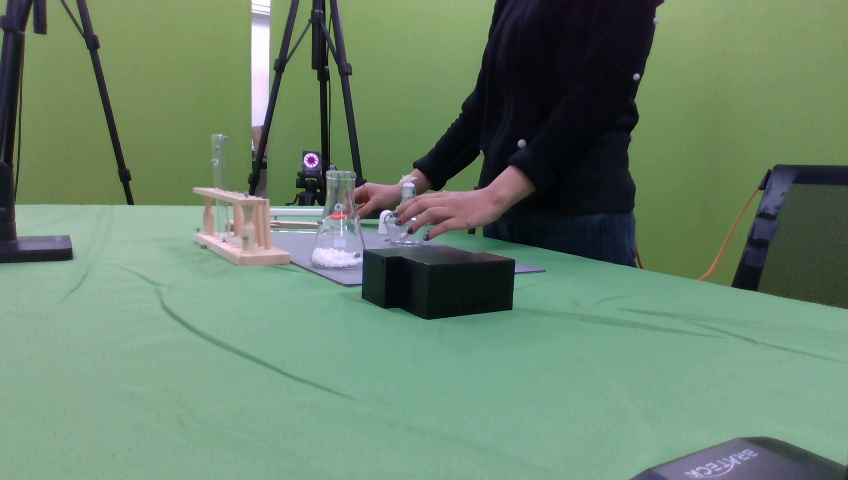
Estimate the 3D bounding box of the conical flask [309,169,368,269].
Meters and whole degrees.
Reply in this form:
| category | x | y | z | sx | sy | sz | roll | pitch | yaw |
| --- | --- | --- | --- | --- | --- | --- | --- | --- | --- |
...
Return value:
| category | x | y | z | sx | sy | sz | roll | pitch | yaw |
| --- | --- | --- | --- | --- | --- | --- | --- | --- | --- |
| conical flask | -0.107 | -0.028 | 0.762 | 0.075 | 0.122 | 0.075 | 2 | 7 | 0 |

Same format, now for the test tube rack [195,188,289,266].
| category | x | y | z | sx | sy | sz | roll | pitch | yaw |
| --- | --- | --- | --- | --- | --- | --- | --- | --- | --- |
| test tube rack | -0.266 | -0.025 | 0.864 | 0.067 | 0.085 | 0.241 | -2 | 8 | -33 |

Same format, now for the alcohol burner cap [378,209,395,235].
| category | x | y | z | sx | sy | sz | roll | pitch | yaw |
| --- | --- | --- | --- | --- | --- | --- | --- | --- | --- |
| alcohol burner cap | -0.070 | -0.035 | 1.144 | 0.034 | 0.048 | 0.034 | 2 | 8 | 0 |

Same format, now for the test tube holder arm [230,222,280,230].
| category | x | y | z | sx | sy | sz | roll | pitch | yaw |
| --- | --- | --- | --- | --- | --- | --- | --- | --- | --- |
| test tube holder arm | -0.312 | -0.025 | 1.118 | 0.088 | 0.015 | 0.010 | -1 | 42 | -30 |

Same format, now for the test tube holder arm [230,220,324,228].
| category | x | y | z | sx | sy | sz | roll | pitch | yaw |
| --- | --- | --- | --- | --- | --- | --- | --- | --- | --- |
| test tube holder arm | -0.275 | -0.029 | 1.144 | 0.179 | 0.015 | 0.013 | -1 | 42 | -31 |

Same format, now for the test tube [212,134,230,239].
| category | x | y | z | sx | sy | sz | roll | pitch | yaw |
| --- | --- | --- | --- | --- | --- | --- | --- | --- | --- |
| test tube | -0.290 | -0.076 | 0.863 | 0.017 | 0.150 | 0.017 | -2 | 6 | 0 |

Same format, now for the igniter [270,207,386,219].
| category | x | y | z | sx | sy | sz | roll | pitch | yaw |
| --- | --- | --- | --- | --- | --- | --- | --- | --- | --- |
| igniter | -0.203 | -0.058 | 1.273 | 0.278 | 0.025 | 0.057 | -1 | 4 | -27 |

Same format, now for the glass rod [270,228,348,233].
| category | x | y | z | sx | sy | sz | roll | pitch | yaw |
| --- | --- | --- | --- | --- | --- | --- | --- | --- | --- |
| glass rod | -0.234 | -0.017 | 1.105 | 0.201 | 0.008 | 0.008 | 1 | 7 | -26 |

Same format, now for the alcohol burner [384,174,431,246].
| category | x | y | z | sx | sy | sz | roll | pitch | yaw |
| --- | --- | --- | --- | --- | --- | --- | --- | --- | --- |
| alcohol burner | -0.026 | -0.049 | 0.994 | 0.078 | 0.119 | 0.078 | 2 | 9 | 0 |
